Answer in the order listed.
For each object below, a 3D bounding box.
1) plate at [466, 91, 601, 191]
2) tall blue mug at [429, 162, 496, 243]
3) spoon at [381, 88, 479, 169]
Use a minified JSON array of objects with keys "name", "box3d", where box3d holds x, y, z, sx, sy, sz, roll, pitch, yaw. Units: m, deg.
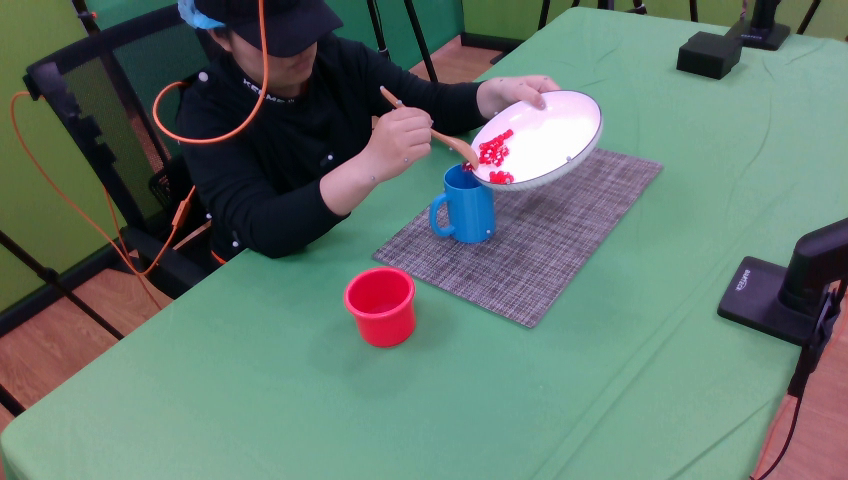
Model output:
[{"name":"plate","box3d":[0.166,-0.144,0.911,0.207,0.039,0.206,-19,40,18]},{"name":"tall blue mug","box3d":[0.067,-0.051,0.960,0.077,0.108,0.107,18,47,27]},{"name":"spoon","box3d":[0.013,-0.161,0.882,0.021,0.195,0.041,-43,32,31]}]
